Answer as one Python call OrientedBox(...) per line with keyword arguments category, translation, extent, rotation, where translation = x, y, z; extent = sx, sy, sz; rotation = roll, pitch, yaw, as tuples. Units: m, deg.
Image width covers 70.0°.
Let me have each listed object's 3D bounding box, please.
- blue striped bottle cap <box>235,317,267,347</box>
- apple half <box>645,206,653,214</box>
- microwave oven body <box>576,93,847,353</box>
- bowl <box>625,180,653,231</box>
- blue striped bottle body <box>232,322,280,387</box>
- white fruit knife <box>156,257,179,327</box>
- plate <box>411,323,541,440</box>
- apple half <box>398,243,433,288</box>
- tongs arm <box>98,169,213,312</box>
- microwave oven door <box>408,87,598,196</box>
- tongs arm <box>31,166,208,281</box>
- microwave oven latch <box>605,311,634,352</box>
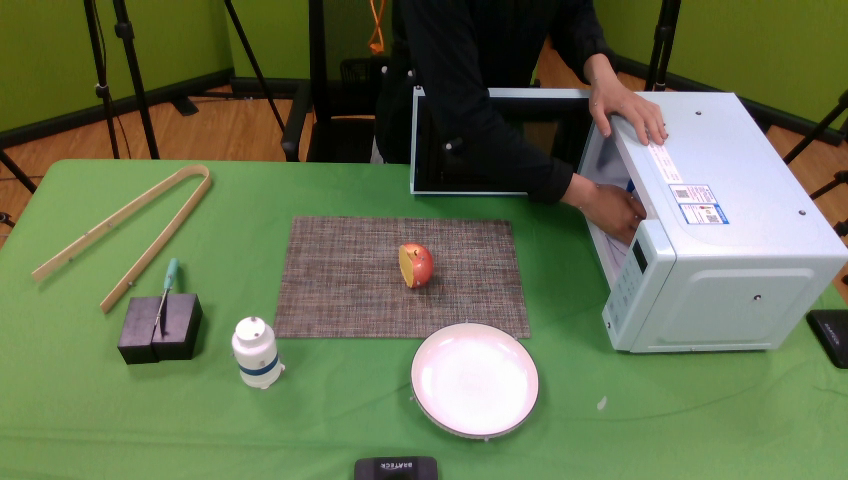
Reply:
OrientedBox(category="blue striped bottle cap", translation=(-0.259, 0.137, 0.907), extent=(0.044, 0.021, 0.044), rotation=(3, 43, -2))
OrientedBox(category="apple half", translation=(0.459, -0.054, 1.158), extent=(0.081, 0.033, 0.081), rotation=(-1, 30, 1))
OrientedBox(category="microwave oven body", translation=(0.475, -0.042, 1.109), extent=(0.326, 0.261, 0.438), rotation=(-1, 45, -4))
OrientedBox(category="bowl", translation=(0.452, -0.045, 1.165), extent=(0.151, 0.077, 0.150), rotation=(6, 36, -4))
OrientedBox(category="blue striped bottle body", translation=(-0.262, 0.171, 0.944), extent=(0.063, 0.121, 0.062), rotation=(2, 46, -2))
OrientedBox(category="white fruit knife", translation=(-0.440, 0.085, 1.037), extent=(0.016, 0.027, 0.206), rotation=(10, 26, -19))
OrientedBox(category="plate", translation=(0.082, 0.228, 0.976), extent=(0.208, 0.039, 0.206), rotation=(2, 45, -2))
OrientedBox(category="apple half", translation=(-0.012, 0.046, 1.115), extent=(0.053, 0.075, 0.080), rotation=(-11, 44, -20))
OrientedBox(category="tongs arm", translation=(-0.503, -0.012, 1.167), extent=(0.028, 0.028, 0.385), rotation=(11, 45, 11))
OrientedBox(category="microwave oven door", translation=(0.149, -0.194, 1.227), extent=(0.356, 0.245, 0.039), rotation=(0, 45, -5))
OrientedBox(category="tongs arm", translation=(-0.578, -0.040, 1.185), extent=(0.050, 0.026, 0.384), rotation=(23, 47, 17))
OrientedBox(category="microwave oven latch", translation=(0.335, 0.153, 1.044), extent=(0.030, 0.029, 0.078), rotation=(3, 45, 0))
